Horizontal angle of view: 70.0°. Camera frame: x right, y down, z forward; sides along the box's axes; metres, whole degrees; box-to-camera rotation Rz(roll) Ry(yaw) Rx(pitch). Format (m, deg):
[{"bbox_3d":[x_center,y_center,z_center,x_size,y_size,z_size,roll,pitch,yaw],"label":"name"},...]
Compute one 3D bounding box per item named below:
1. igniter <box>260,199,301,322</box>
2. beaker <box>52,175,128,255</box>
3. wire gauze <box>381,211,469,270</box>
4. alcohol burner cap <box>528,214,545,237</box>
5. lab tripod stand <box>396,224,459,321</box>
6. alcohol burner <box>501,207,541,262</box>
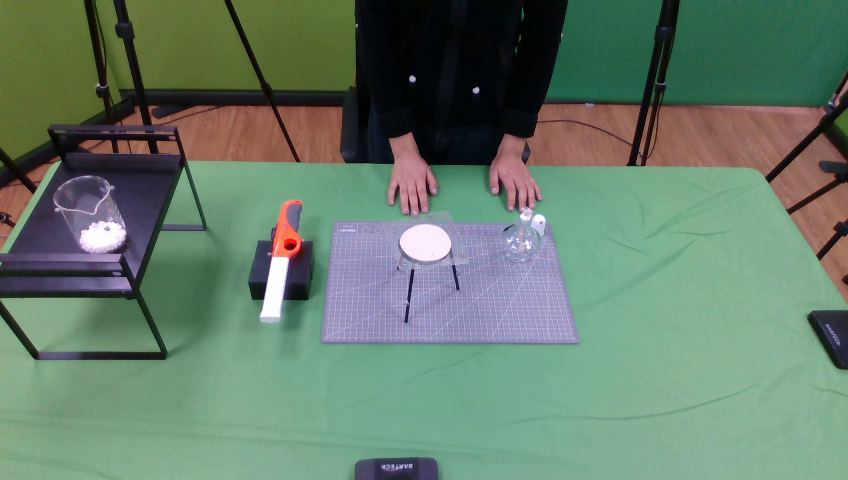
[{"bbox_3d":[-0.255,0.027,1.084,0.057,0.025,0.274,3,49,-5],"label":"igniter"},{"bbox_3d":[-0.482,-0.032,0.888,0.074,0.101,0.083,-28,55,-27],"label":"beaker"},{"bbox_3d":[0.000,0.001,1.023,0.125,0.011,0.120,-9,48,-13],"label":"wire gauze"},{"bbox_3d":[0.231,-0.032,1.230,0.034,0.048,0.033,2,46,-2],"label":"alcohol burner cap"},{"bbox_3d":[-0.003,0.052,1.067,0.148,0.132,0.147,3,48,-3],"label":"lab tripod stand"},{"bbox_3d":[0.188,-0.015,1.160,0.078,0.120,0.077,1,44,-1],"label":"alcohol burner"}]
